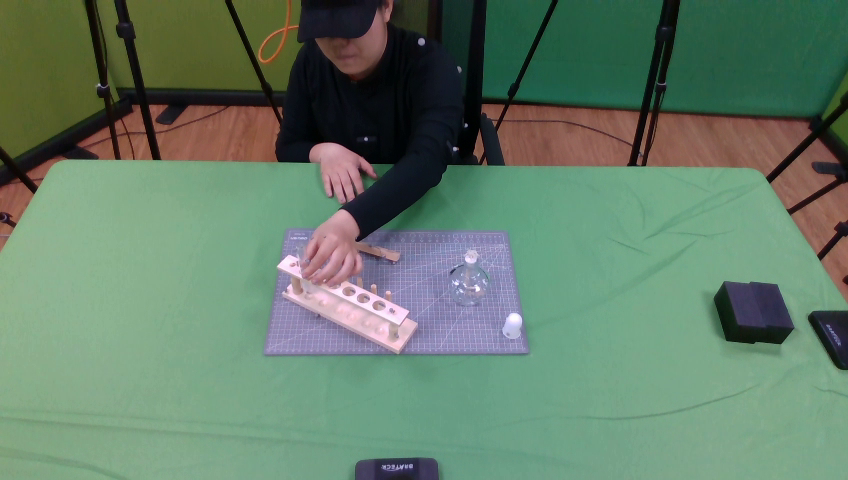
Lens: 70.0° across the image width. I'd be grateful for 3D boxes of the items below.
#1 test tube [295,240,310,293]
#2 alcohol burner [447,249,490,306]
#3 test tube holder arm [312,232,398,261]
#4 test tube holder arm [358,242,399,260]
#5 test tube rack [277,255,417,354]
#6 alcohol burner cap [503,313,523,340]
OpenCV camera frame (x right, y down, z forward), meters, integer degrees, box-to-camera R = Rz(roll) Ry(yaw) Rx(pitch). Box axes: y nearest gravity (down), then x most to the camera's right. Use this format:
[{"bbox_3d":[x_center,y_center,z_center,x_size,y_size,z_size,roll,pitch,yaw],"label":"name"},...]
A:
[{"bbox_3d":[-0.202,0.048,1.014,0.017,0.151,0.017,3,56,-5],"label":"test tube"},{"bbox_3d":[0.081,0.062,1.078,0.078,0.120,0.077,1,45,-1],"label":"alcohol burner"},{"bbox_3d":[-0.135,0.012,1.176,0.178,0.015,0.013,14,14,12],"label":"test tube holder arm"},{"bbox_3d":[-0.090,0.022,1.172,0.087,0.015,0.010,15,14,12],"label":"test tube holder arm"},{"bbox_3d":[-0.132,0.099,1.045,0.241,0.085,0.066,23,49,17],"label":"test tube rack"},{"bbox_3d":[0.155,0.147,1.051,0.034,0.048,0.033,1,45,-1],"label":"alcohol burner cap"}]
